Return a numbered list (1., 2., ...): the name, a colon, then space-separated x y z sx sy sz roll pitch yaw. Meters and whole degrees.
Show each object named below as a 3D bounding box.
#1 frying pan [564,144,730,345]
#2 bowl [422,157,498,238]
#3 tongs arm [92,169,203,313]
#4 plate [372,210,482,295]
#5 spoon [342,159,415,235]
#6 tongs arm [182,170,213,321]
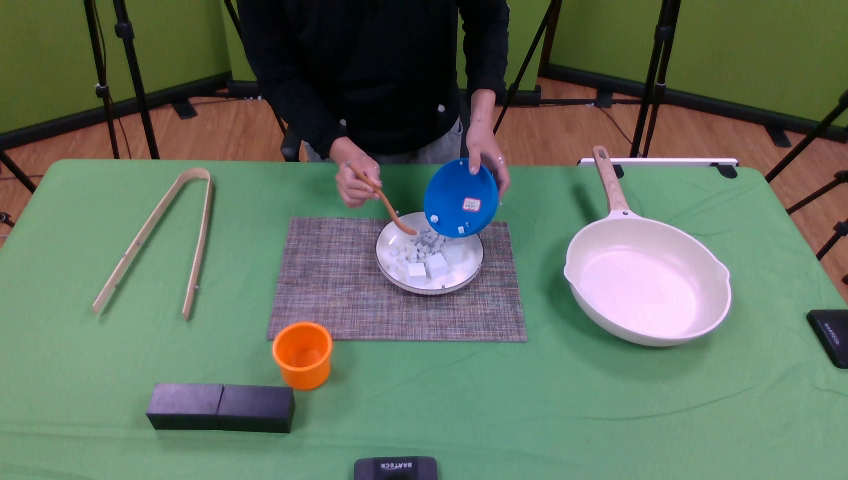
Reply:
1. frying pan: 0.396 -0.008 1.179 0.307 0.103 0.484 0 55 -5
2. bowl: 0.079 -0.071 1.125 0.150 0.151 0.077 47 16 33
3. tongs arm: -0.517 -0.012 1.160 0.051 0.026 0.382 7 45 1
4. plate: 0.005 0.028 1.155 0.208 0.039 0.206 2 46 -2
5. spoon: -0.079 -0.074 1.074 0.021 0.195 0.041 -38 27 2
6. tongs arm: -0.436 -0.005 1.166 0.028 0.028 0.385 -5 46 -6
